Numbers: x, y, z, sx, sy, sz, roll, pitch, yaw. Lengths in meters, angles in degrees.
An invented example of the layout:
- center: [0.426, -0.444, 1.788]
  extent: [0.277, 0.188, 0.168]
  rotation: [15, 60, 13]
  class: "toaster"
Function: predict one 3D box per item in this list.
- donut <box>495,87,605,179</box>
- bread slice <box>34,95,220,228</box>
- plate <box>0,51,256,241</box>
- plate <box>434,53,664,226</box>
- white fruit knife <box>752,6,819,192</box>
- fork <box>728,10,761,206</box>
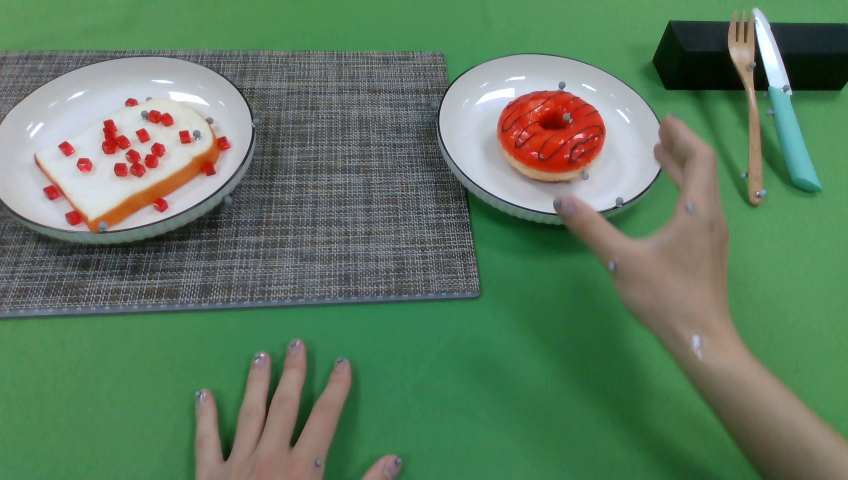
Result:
- center: [0.113, -0.098, 0.549]
  extent: [0.099, 0.048, 0.098]
  rotation: [1, 56, -1]
  class: "donut"
- center: [-0.246, -0.076, 0.513]
  extent: [0.104, 0.019, 0.131]
  rotation: [41, 62, 21]
  class: "bread slice"
- center: [-0.248, -0.080, 0.513]
  extent: [0.209, 0.038, 0.207]
  rotation: [2, 55, -3]
  class: "plate"
- center: [0.111, -0.092, 0.559]
  extent: [0.208, 0.039, 0.205]
  rotation: [3, 54, -3]
  class: "plate"
- center: [0.349, -0.143, 0.595]
  extent: [0.027, 0.016, 0.206]
  rotation: [-1, 72, -8]
  class: "white fruit knife"
- center: [0.310, -0.130, 0.580]
  extent: [0.028, 0.019, 0.206]
  rotation: [8, 72, -6]
  class: "fork"
